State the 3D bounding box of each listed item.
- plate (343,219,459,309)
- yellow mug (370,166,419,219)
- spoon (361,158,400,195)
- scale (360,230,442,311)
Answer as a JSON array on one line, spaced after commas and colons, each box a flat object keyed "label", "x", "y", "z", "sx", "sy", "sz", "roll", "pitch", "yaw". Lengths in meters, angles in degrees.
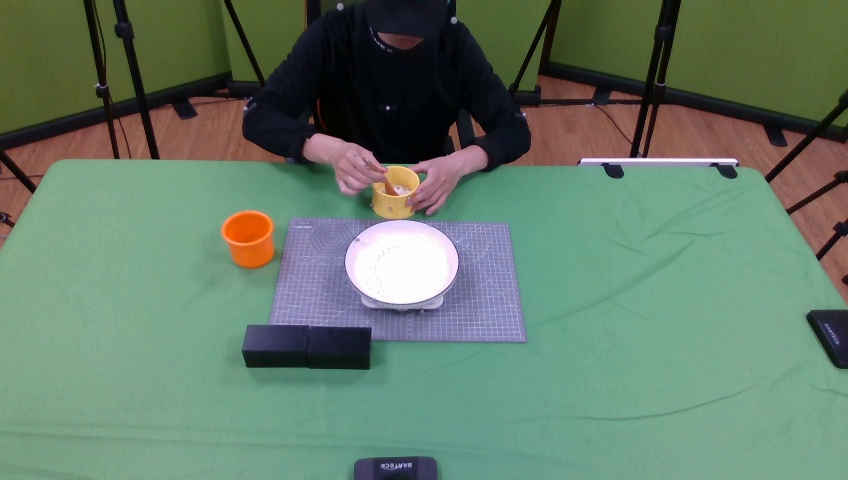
[{"label": "plate", "x": -0.041, "y": 0.046, "z": 1.094, "sx": 0.209, "sy": 0.038, "sz": 0.208, "roll": 2, "pitch": 46, "yaw": -2}, {"label": "yellow mug", "x": -0.072, "y": -0.108, "z": 1.268, "sx": 0.100, "sy": 0.064, "sz": 0.130, "roll": -30, "pitch": 54, "yaw": -29}, {"label": "spoon", "x": -0.085, "y": -0.123, "z": 1.204, "sx": 0.041, "sy": 0.195, "sz": 0.021, "roll": 32, "pitch": 81, "yaw": 24}, {"label": "scale", "x": -0.042, "y": 0.047, "z": 1.138, "sx": 0.149, "sy": 0.032, "sz": 0.199, "roll": 2, "pitch": 46, "yaw": -3}]
